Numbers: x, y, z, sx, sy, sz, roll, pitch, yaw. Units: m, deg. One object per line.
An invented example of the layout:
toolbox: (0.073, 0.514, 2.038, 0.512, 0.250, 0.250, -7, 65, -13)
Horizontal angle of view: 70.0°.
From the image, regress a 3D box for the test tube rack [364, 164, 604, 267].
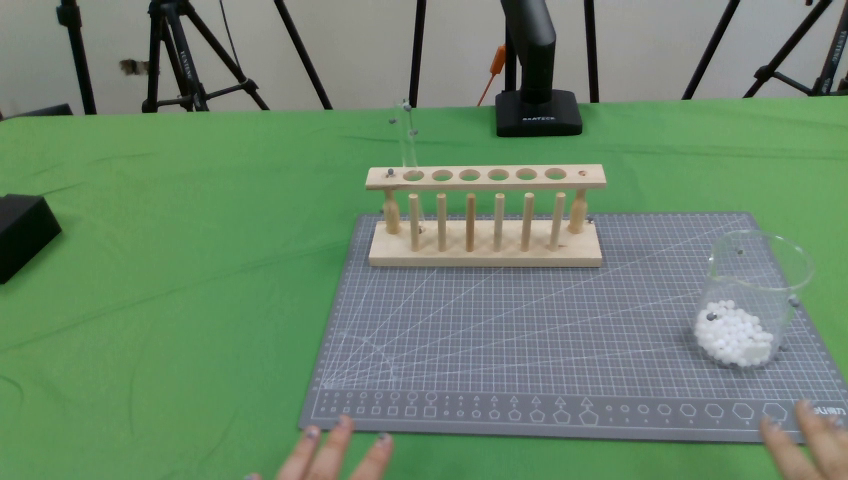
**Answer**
test tube rack: (0.061, -0.025, 0.635, 0.242, 0.086, 0.066, 0, 39, 5)

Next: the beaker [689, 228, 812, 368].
beaker: (0.266, 0.052, 0.508, 0.084, 0.101, 0.073, -12, 39, -8)

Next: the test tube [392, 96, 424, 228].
test tube: (-0.015, -0.076, 0.625, 0.017, 0.151, 0.017, -5, 36, 4)
